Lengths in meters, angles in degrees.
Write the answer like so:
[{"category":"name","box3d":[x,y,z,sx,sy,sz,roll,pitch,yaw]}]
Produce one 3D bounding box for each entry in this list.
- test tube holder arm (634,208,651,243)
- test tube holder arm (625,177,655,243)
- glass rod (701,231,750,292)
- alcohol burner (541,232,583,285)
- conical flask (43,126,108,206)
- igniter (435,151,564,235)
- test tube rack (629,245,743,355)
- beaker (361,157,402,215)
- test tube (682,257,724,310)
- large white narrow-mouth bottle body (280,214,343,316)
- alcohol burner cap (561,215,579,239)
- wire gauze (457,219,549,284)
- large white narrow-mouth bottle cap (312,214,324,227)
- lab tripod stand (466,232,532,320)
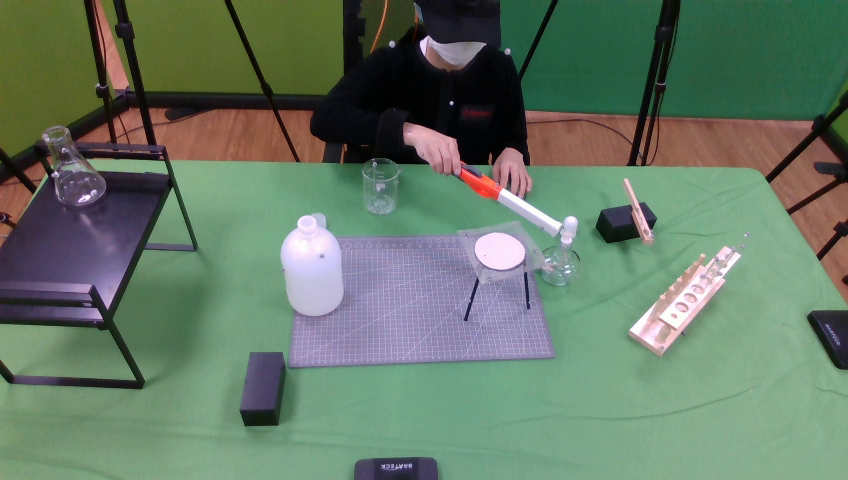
[{"category":"test tube holder arm","box3d":[0.428,-0.030,1.189,0.010,0.015,0.087,1,47,-2]},{"category":"test tube holder arm","box3d":[0.433,-0.063,1.220,0.013,0.015,0.177,1,47,-3]},{"category":"glass rod","box3d":[0.519,0.045,1.050,0.008,0.201,0.008,0,55,0]},{"category":"alcohol burner","box3d":[0.258,0.028,1.123,0.078,0.120,0.077,1,48,-1]},{"category":"conical flask","box3d":[-0.555,-0.119,0.953,0.075,0.122,0.075,2,46,-2]},{"category":"igniter","box3d":[0.134,-0.091,1.126,0.275,0.057,0.025,33,62,16]},{"category":"test tube rack","box3d":[0.474,0.095,1.091,0.242,0.085,0.066,-34,56,-31]},{"category":"beaker","box3d":[-0.086,-0.108,1.241,0.084,0.101,0.073,-8,48,-13]},{"category":"test tube","box3d":[0.475,0.080,1.037,0.017,0.151,0.017,2,51,-2]},{"category":"large white narrow-mouth bottle body","box3d":[-0.190,0.035,1.025,0.102,0.195,0.101,2,46,-2]},{"category":"alcohol burner cap","box3d":[0.299,-0.030,1.230,0.034,0.048,0.033,1,46,-1]},{"category":"wire gauze","box3d":[0.131,0.014,1.016,0.121,0.011,0.124,-12,47,-14]},{"category":"large white narrow-mouth bottle cap","box3d":[-0.219,-0.033,1.214,0.038,0.024,0.037,2,46,-2]},{"category":"lab tripod stand","box3d":[0.125,0.060,1.065,0.148,0.132,0.147,1,45,0]}]
